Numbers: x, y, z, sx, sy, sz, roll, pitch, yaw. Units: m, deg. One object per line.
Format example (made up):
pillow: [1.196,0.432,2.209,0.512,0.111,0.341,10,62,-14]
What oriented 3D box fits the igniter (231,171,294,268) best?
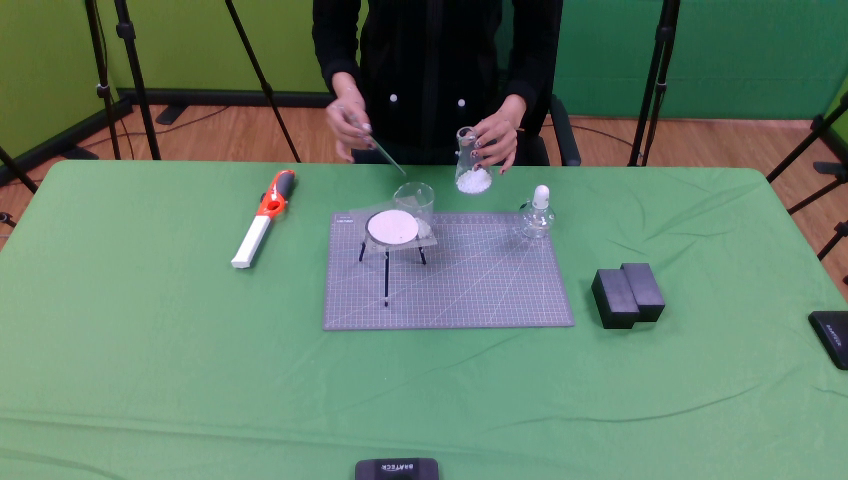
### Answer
igniter: [-0.321,-0.051,1.220,0.057,0.025,0.275,2,45,11]

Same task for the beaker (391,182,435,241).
beaker: [-0.023,-0.053,1.192,0.084,0.101,0.073,-2,46,-5]

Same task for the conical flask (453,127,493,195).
conical flask: [0.084,-0.148,1.113,0.075,0.122,0.075,-7,44,7]

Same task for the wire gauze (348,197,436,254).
wire gauze: [-0.056,-0.026,1.045,0.125,0.011,0.120,-12,46,-17]

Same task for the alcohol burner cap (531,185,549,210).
alcohol burner cap: [0.228,-0.085,1.183,0.034,0.048,0.033,-1,48,2]

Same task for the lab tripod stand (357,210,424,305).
lab tripod stand: [-0.060,0.020,1.094,0.148,0.132,0.147,3,44,-2]

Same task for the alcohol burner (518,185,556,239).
alcohol burner: [0.227,-0.061,1.209,0.078,0.120,0.077,1,44,-1]

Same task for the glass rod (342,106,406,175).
glass rod: [-0.084,-0.173,1.072,0.008,0.201,0.008,-17,54,24]
